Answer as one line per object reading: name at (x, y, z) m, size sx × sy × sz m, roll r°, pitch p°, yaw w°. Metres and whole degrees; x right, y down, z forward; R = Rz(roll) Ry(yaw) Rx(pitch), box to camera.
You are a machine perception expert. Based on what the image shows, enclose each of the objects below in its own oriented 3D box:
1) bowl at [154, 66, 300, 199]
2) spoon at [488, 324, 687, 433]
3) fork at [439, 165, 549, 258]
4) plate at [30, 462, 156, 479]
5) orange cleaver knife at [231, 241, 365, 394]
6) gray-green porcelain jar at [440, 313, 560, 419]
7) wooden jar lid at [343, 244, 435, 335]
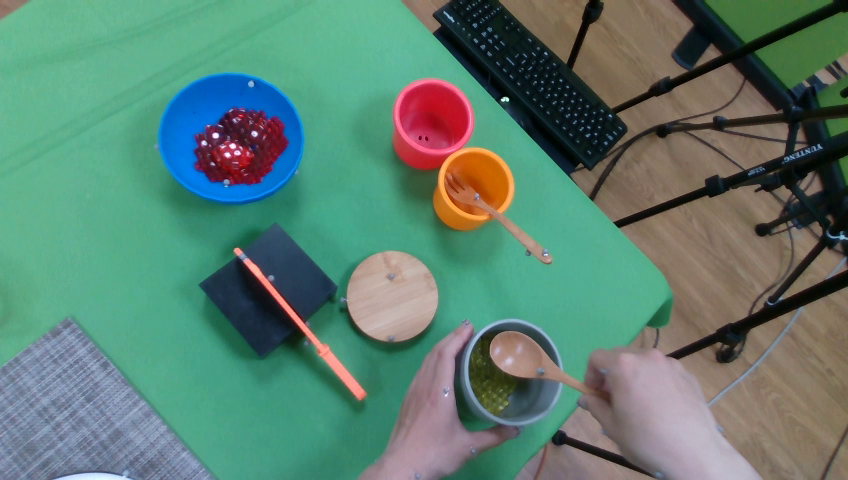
bowl at (-0.217, -0.110, 0.686) m, size 0.152 × 0.077 × 0.150 m, roll 3°, pitch 77°, yaw -11°
spoon at (0.141, 0.127, 0.549) m, size 0.192 × 0.022 × 0.041 m, roll 23°, pitch 78°, yaw 37°
fork at (0.076, -0.036, 0.692) m, size 0.028 × 0.019 × 0.205 m, roll -26°, pitch 40°, yaw -17°
plate at (-0.326, 0.320, 0.578) m, size 0.210 × 0.038 × 0.208 m, roll 3°, pitch 77°, yaw -12°
orange cleaver knife at (-0.135, 0.085, 0.655) m, size 0.012 × 0.076 × 0.213 m, roll -41°, pitch 112°, yaw -15°
gray-green porcelain jar at (0.076, 0.139, 0.664) m, size 0.106 × 0.126 × 0.105 m, roll 3°, pitch 76°, yaw -11°
wooden jar lid at (-0.041, 0.059, 0.714) m, size 0.109 × 0.021 × 0.108 m, roll 2°, pitch 78°, yaw -11°
